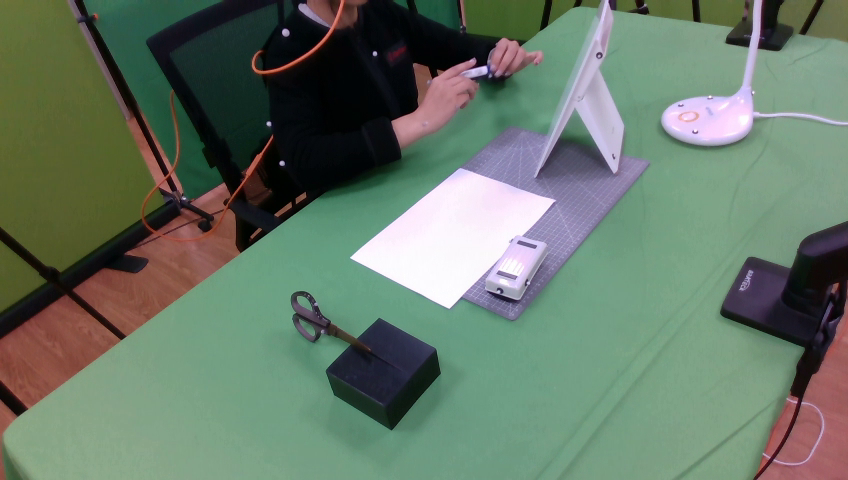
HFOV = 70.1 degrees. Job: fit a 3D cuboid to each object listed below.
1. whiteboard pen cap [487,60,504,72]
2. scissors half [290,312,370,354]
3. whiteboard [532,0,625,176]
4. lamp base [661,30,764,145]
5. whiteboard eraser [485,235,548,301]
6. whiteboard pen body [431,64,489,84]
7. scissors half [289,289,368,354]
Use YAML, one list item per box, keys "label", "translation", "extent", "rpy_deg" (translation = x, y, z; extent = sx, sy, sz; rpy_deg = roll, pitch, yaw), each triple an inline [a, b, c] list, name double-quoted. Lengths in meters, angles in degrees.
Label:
- label: "whiteboard pen cap"
  translation: [0.138, -0.340, 1.181]
  extent: [0.033, 0.018, 0.018]
  rpy_deg: [-17, 41, -5]
- label: "scissors half"
  translation: [-0.128, 0.129, 0.816]
  extent: [0.013, 0.040, 0.173]
  rpy_deg: [-23, 22, -40]
- label: "whiteboard"
  translation: [0.320, -0.259, 1.050]
  extent: [0.144, 0.306, 0.217]
  rpy_deg: [21, 45, 5]
- label: "lamp base"
  translation: [0.535, -0.287, 1.096]
  extent: [0.179, 0.181, 0.159]
  rpy_deg: [-10, 40, -4]
- label: "whiteboard eraser"
  translation: [0.137, 0.042, 0.887]
  extent: [0.055, 0.042, 0.113]
  rpy_deg: [15, 46, 27]
- label: "whiteboard pen body"
  translation: [0.081, -0.324, 1.171]
  extent: [0.141, 0.017, 0.017]
  rpy_deg: [-16, 41, -10]
- label: "scissors half"
  translation: [-0.128, 0.110, 0.809]
  extent: [0.013, 0.040, 0.173]
  rpy_deg: [-17, 36, -43]
